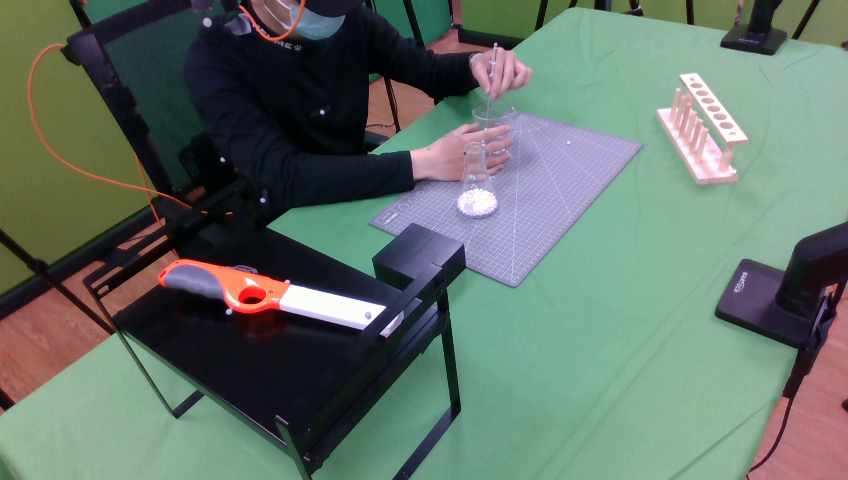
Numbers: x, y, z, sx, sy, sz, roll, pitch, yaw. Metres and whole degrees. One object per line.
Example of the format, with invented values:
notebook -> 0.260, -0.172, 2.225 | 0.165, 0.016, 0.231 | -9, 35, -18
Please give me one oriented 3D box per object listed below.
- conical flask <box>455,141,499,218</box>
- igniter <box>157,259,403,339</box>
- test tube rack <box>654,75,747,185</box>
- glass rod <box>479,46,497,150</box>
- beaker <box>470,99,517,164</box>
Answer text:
conical flask -> 0.085, -0.103, 0.999 | 0.075, 0.122, 0.075 | -4, 40, 4
igniter -> -0.157, 0.059, 0.638 | 0.275, 0.025, 0.057 | 11, 43, 14
test tube rack -> 0.491, -0.205, 1.092 | 0.067, 0.085, 0.241 | -5, 40, 3
glass rod -> 0.116, -0.256, 1.112 | 0.008, 0.200, 0.008 | 4, 36, -2
beaker -> 0.130, -0.200, 1.125 | 0.084, 0.101, 0.073 | 0, 41, 8
